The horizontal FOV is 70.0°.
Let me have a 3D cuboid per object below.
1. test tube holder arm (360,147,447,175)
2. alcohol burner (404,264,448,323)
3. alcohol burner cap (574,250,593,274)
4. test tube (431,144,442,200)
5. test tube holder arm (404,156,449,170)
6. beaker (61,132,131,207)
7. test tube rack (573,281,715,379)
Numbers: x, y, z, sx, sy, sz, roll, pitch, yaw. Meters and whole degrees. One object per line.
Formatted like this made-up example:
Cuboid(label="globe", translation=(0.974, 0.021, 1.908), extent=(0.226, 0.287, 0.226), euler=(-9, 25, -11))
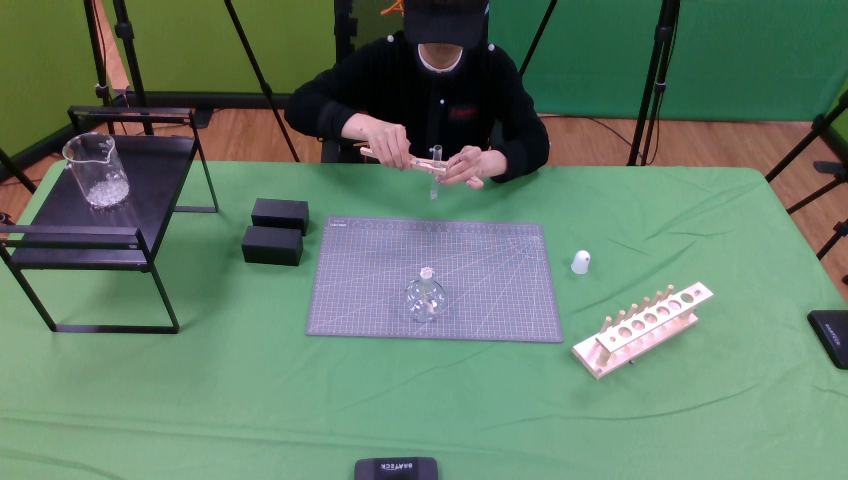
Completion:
Cuboid(label="test tube holder arm", translation=(-0.040, -0.148, 1.134), extent=(0.178, 0.015, 0.013), euler=(15, 51, 18))
Cuboid(label="alcohol burner", translation=(0.003, 0.087, 1.042), extent=(0.078, 0.120, 0.077), euler=(1, 45, 0))
Cuboid(label="alcohol burner cap", translation=(0.308, 0.039, 1.163), extent=(0.034, 0.048, 0.033), euler=(1, 46, -1))
Cuboid(label="test tube", translation=(0.023, -0.124, 1.132), extent=(0.017, 0.151, 0.017), euler=(1, 56, -1))
Cuboid(label="test tube holder arm", translation=(0.003, -0.143, 1.124), extent=(0.087, 0.015, 0.010), euler=(9, 50, 14))
Cuboid(label="beaker", translation=(-0.512, -0.107, 0.959), extent=(0.083, 0.101, 0.074), euler=(29, 51, 22))
Cuboid(label="test tube rack", translation=(0.378, 0.140, 1.038), extent=(0.242, 0.085, 0.066), euler=(-22, 51, -23))
